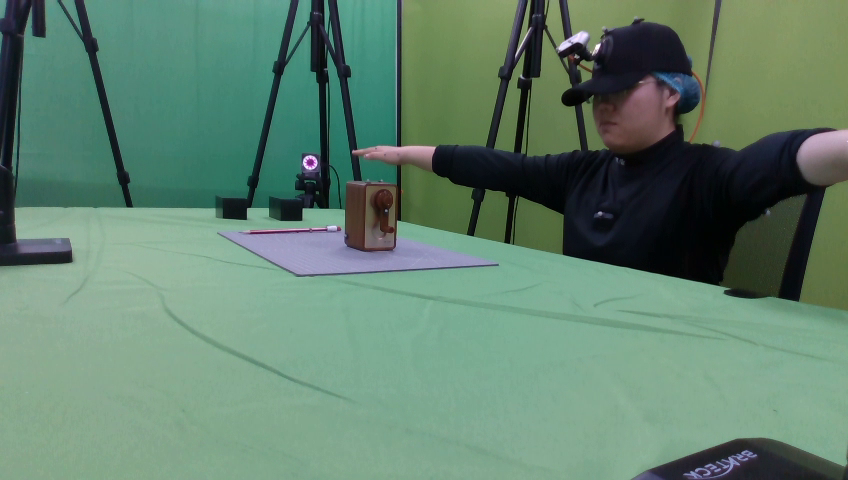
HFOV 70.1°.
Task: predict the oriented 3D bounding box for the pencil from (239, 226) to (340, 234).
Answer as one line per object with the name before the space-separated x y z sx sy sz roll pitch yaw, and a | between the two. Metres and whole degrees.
pencil | -0.245 -0.018 1.119 0.195 0.012 0.012 -3 9 -34

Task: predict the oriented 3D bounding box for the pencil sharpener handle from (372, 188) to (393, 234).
pencil sharpener handle | -0.057 -0.044 0.912 0.036 0.067 0.030 -2 9 -33

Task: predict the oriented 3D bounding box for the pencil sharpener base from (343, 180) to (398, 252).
pencil sharpener base | -0.085 -0.038 0.956 0.062 0.107 0.076 -1 9 -33
